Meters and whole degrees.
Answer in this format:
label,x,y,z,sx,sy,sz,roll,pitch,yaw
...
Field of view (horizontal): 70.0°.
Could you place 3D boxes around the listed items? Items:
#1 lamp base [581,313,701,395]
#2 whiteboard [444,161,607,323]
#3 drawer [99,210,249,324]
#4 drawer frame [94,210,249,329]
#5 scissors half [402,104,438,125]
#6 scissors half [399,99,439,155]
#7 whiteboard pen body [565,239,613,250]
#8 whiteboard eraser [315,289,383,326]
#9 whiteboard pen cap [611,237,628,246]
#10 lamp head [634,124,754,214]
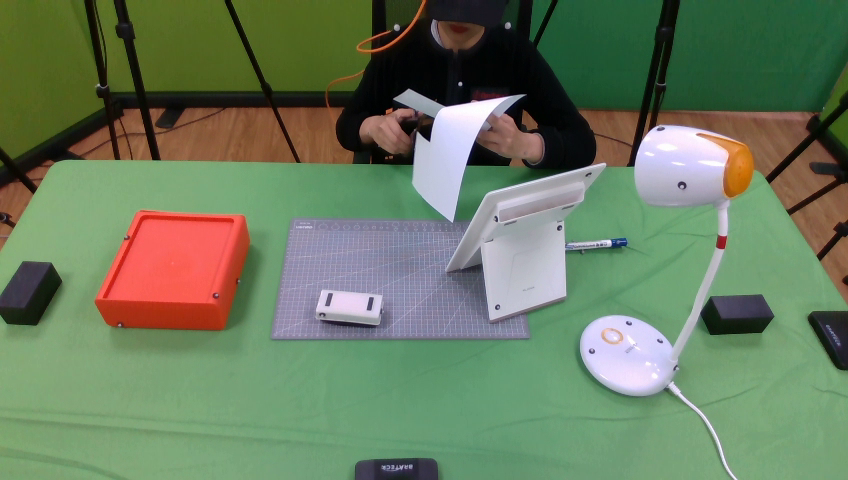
label,x,y,z,sx,sy,sz,roll,pitch,yaw
lamp base,0.361,0.144,0.972,0.178,0.181,0.160,34,53,23
whiteboard,0.186,0.025,1.029,0.217,0.306,0.143,-14,68,-18
drawer,-0.435,0.044,1.081,0.194,0.073,0.210,3,47,-2
drawer frame,-0.434,0.048,1.076,0.202,0.083,0.212,2,47,-3
scissors half,-0.008,-0.262,1.284,0.013,0.040,0.174,10,14,-27
scissors half,-0.010,-0.236,1.280,0.013,0.175,0.040,5,54,-29
whiteboard pen body,0.331,0.008,1.211,0.141,0.017,0.017,-5,47,-4
whiteboard eraser,-0.130,0.119,1.054,0.113,0.042,0.055,6,47,1
whiteboard pen cap,0.390,0.004,1.215,0.033,0.018,0.018,-7,47,-2
lamp head,0.351,-0.089,0.775,0.112,0.113,0.122,-30,30,-28
